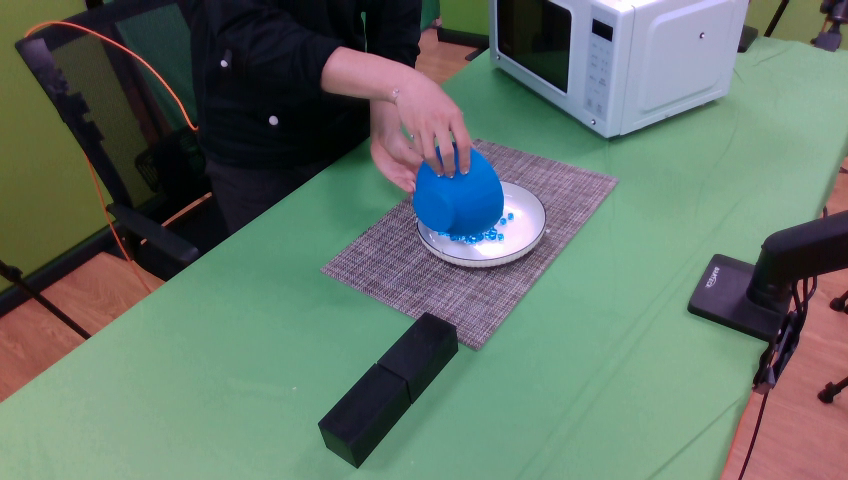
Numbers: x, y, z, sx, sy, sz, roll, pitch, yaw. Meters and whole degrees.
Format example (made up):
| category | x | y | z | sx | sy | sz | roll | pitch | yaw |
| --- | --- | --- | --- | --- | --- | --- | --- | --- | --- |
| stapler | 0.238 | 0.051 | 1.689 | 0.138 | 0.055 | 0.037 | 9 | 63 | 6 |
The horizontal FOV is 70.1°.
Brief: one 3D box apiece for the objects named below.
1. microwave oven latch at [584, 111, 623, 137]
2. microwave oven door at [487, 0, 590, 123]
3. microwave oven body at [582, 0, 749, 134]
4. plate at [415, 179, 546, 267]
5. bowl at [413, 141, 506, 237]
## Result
| category | x | y | z | sx | sy | sz | roll | pitch | yaw |
| --- | --- | --- | --- | --- | --- | --- | --- | --- | --- |
| microwave oven latch | 0.337 | -0.222 | 1.142 | 0.030 | 0.029 | 0.078 | -21 | 42 | -14 |
| microwave oven door | 0.232 | -0.420 | 1.231 | 0.039 | 0.245 | 0.352 | -22 | 43 | -16 |
| microwave oven body | 0.382 | -0.444 | 1.246 | 0.327 | 0.261 | 0.437 | -22 | 42 | -16 |
| plate | 0.091 | -0.026 | 0.970 | 0.207 | 0.039 | 0.206 | -4 | 41 | 4 |
| bowl | 0.036 | -0.061 | 0.888 | 0.150 | 0.152 | 0.077 | 25 | 44 | 32 |
